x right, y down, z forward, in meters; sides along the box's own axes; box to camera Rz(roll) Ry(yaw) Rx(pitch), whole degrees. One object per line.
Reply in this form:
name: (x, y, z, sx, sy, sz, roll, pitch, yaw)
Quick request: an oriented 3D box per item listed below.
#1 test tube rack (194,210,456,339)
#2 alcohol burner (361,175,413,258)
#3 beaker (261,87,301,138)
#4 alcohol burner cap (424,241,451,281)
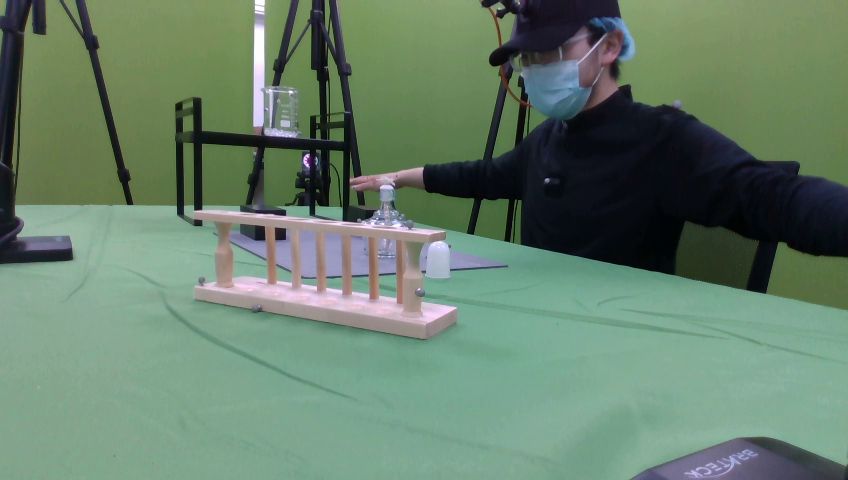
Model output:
test tube rack: (-0.093, 0.023, 0.545, 0.241, 0.085, 0.067, 6, 8, 25)
alcohol burner: (-0.054, -0.034, 0.871, 0.078, 0.119, 0.078, 1, 8, 0)
beaker: (-0.298, -0.263, 1.255, 0.084, 0.100, 0.073, -5, 10, -40)
alcohol burner cap: (0.018, 0.024, 0.748, 0.034, 0.048, 0.034, 3, 9, 0)
